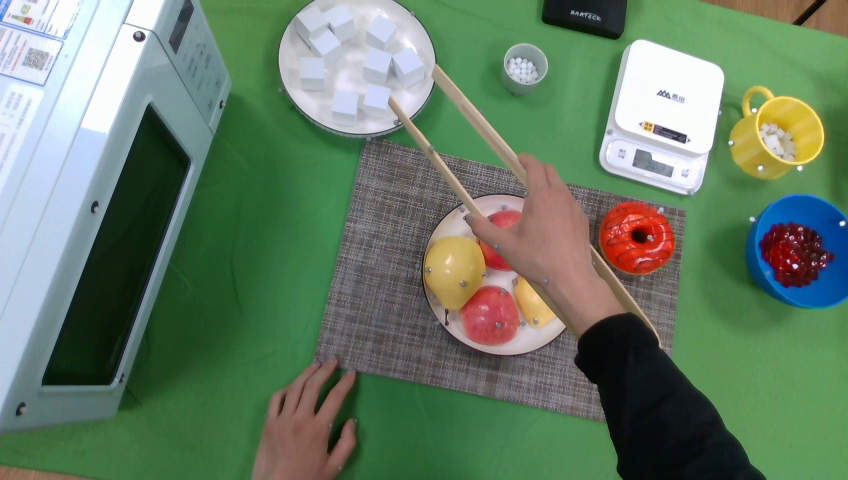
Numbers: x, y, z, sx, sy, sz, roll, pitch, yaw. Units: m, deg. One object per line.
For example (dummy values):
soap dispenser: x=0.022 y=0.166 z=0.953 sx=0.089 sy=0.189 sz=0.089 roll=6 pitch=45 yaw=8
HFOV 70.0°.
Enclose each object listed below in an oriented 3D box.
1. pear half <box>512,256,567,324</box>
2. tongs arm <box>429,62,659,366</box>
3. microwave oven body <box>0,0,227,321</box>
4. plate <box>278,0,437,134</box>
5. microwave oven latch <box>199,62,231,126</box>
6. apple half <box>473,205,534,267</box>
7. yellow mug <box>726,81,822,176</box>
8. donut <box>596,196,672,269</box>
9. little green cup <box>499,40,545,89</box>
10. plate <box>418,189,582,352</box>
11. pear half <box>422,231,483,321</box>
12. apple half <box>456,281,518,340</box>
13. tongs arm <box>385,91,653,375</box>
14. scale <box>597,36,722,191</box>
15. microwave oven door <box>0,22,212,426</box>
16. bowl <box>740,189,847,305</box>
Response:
pear half: x=0.146 y=0.061 z=0.765 sx=0.070 sy=0.031 sz=0.087 roll=11 pitch=74 yaw=10
tongs arm: x=0.122 y=-0.032 z=0.635 sx=0.028 sy=0.028 sz=0.386 roll=-35 pitch=84 yaw=-22
microwave oven body: x=-0.442 y=-0.078 z=0.615 sx=0.326 sy=0.260 sz=0.440 roll=15 pitch=77 yaw=-4
plate: x=-0.087 y=-0.236 z=0.809 sx=0.208 sy=0.039 sz=0.206 roll=2 pitch=78 yaw=-7
microwave oven latch: x=-0.267 y=-0.185 z=0.757 sx=0.030 sy=0.029 sz=0.079 roll=17 pitch=77 yaw=-3
apple half: x=0.102 y=-0.008 z=0.763 sx=0.075 sy=0.053 sz=0.080 roll=0 pitch=81 yaw=-4
yellow mug: x=0.481 y=-0.162 z=0.848 sx=0.100 sy=0.064 sz=0.130 roll=-20 pitch=80 yaw=-10
donut: x=0.275 y=-0.010 z=0.799 sx=0.099 sy=0.048 sz=0.098 roll=1 pitch=78 yaw=-4
little green cup: x=0.133 y=-0.240 z=0.837 sx=0.061 sy=0.039 sz=0.061 roll=1 pitch=77 yaw=-6
plate: x=0.095 y=0.039 z=0.770 sx=0.209 sy=0.038 sz=0.208 roll=2 pitch=78 yaw=-7
pear half: x=0.036 y=0.044 z=0.739 sx=0.076 sy=0.056 sz=0.109 roll=8 pitch=81 yaw=-14
apple half: x=0.080 y=0.086 z=0.749 sx=0.081 sy=0.033 sz=0.081 roll=3 pitch=71 yaw=-8
tongs arm: x=0.093 y=-0.011 z=0.624 sx=0.051 sy=0.026 sz=0.384 roll=-35 pitch=84 yaw=-18
scale: x=0.332 y=-0.179 z=0.851 sx=0.149 sy=0.031 sz=0.200 roll=17 pitch=77 yaw=-2
microwave oven door: x=-0.311 y=-0.001 z=0.609 sx=0.039 sy=0.244 sz=0.354 roll=15 pitch=77 yaw=-3
bowl: x=0.481 y=0.015 z=0.805 sx=0.151 sy=0.077 sz=0.150 roll=1 pitch=79 yaw=-6
